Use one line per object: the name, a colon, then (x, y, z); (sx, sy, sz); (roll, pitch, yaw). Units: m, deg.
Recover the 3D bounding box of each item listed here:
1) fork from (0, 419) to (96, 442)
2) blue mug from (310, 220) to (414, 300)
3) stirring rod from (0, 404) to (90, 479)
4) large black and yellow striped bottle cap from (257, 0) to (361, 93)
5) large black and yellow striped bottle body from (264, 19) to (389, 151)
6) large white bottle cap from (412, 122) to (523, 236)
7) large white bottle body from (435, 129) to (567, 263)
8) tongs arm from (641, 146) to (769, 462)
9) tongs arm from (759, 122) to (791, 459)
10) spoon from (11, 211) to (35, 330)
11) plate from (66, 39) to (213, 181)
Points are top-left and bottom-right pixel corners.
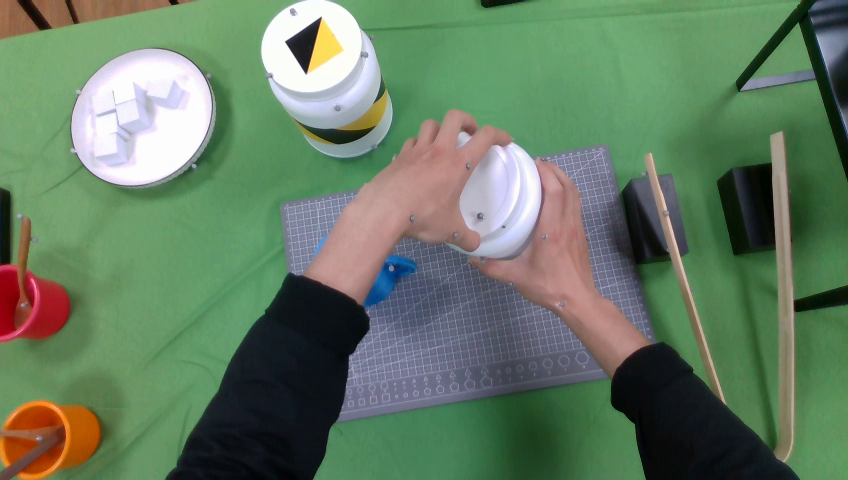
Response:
fork: (-0.506, 0.223, 0.722); (0.209, 0.018, 0.028); (17, 74, -36)
blue mug: (-0.071, 0.026, 0.747); (0.116, 0.106, 0.082); (-3, 78, 4)
stirring rod: (-0.477, 0.256, 0.719); (0.014, 0.006, 0.176); (37, 41, 8)
large black and yellow striped bottle cap: (-0.129, -0.222, 0.679); (0.115, 0.019, 0.114); (-1, 79, 3)
large black and yellow striped bottle body: (-0.121, -0.202, 0.760); (0.130, 0.185, 0.130); (-1, 78, 5)
large white bottle cap: (0.042, -0.061, 0.606); (0.114, 0.018, 0.114); (-4, 80, 24)
large white bottle body: (0.079, -0.048, 0.682); (0.130, 0.186, 0.130); (-4, 80, 25)
tongs arm: (0.326, 0.072, 0.707); (0.051, 0.026, 0.384); (-14, 89, 0)
tongs arm: (0.407, 0.058, 0.705); (0.028, 0.028, 0.387); (-1, 90, -4)
spoon: (-0.507, 0.042, 0.763); (0.041, 0.021, 0.195); (36, 127, 14)
plate: (-0.394, -0.180, 0.853); (0.207, 0.039, 0.206); (-1, 79, 5)
